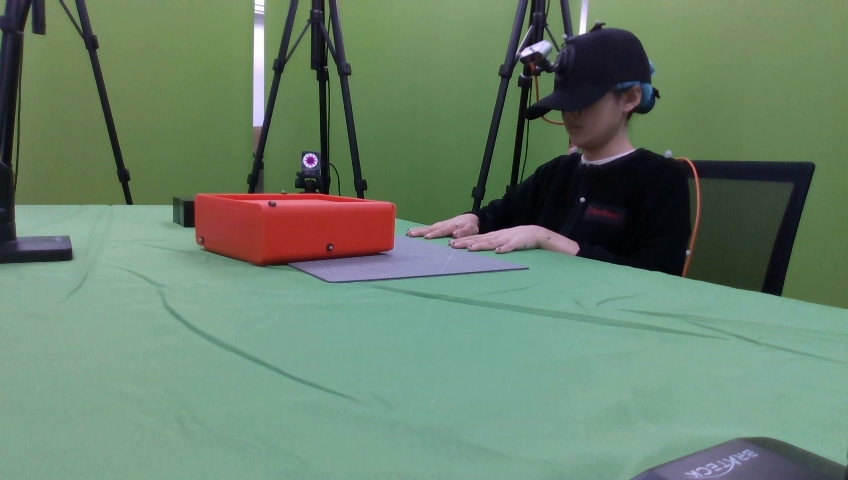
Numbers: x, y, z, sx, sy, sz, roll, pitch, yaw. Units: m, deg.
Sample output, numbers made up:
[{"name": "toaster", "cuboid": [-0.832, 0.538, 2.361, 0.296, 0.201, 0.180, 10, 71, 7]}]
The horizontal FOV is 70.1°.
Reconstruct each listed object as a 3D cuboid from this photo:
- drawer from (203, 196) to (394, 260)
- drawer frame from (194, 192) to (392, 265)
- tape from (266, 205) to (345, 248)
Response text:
[{"name": "drawer", "cuboid": [-0.184, -0.023, 0.887, 0.213, 0.073, 0.193, -5, 11, -43]}, {"name": "drawer frame", "cuboid": [-0.190, -0.024, 0.882, 0.215, 0.082, 0.200, -5, 11, -44]}, {"name": "tape", "cuboid": [-0.178, -0.021, 0.904, 0.117, 0.052, 0.117, 5, 6, 0]}]
